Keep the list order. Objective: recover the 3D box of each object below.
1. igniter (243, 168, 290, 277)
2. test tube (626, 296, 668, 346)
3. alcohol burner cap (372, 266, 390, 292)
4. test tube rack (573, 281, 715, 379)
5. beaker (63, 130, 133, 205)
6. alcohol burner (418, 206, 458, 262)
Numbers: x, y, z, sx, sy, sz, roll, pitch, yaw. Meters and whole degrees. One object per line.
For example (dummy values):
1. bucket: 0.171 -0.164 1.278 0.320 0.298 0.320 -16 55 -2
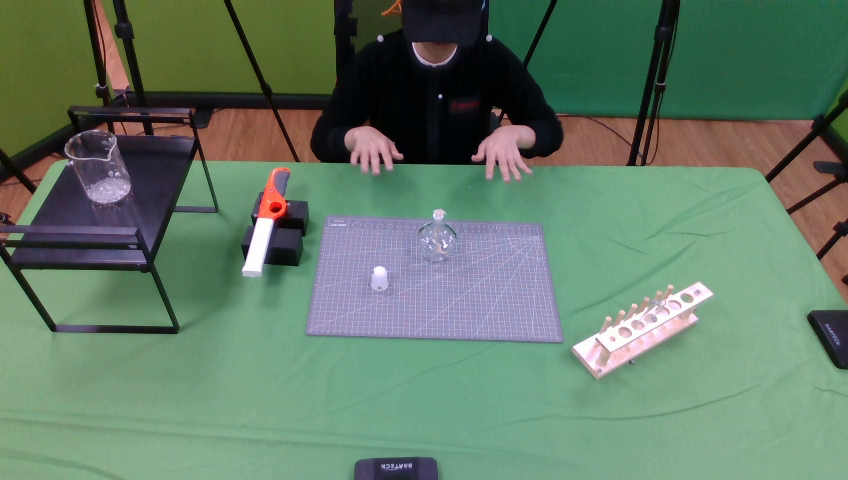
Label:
1. igniter: -0.295 -0.043 1.147 0.057 0.025 0.275 5 48 -3
2. test tube: 0.352 0.133 0.970 0.017 0.151 0.017 3 54 -4
3. alcohol burner cap: -0.080 0.069 1.105 0.034 0.048 0.033 0 46 0
4. test tube rack: 0.378 0.140 1.038 0.242 0.085 0.066 -22 51 -23
5. beaker: -0.511 -0.112 0.964 0.083 0.101 0.074 31 52 23
6. alcohol burner: 0.027 -0.016 1.144 0.078 0.120 0.077 0 45 0
